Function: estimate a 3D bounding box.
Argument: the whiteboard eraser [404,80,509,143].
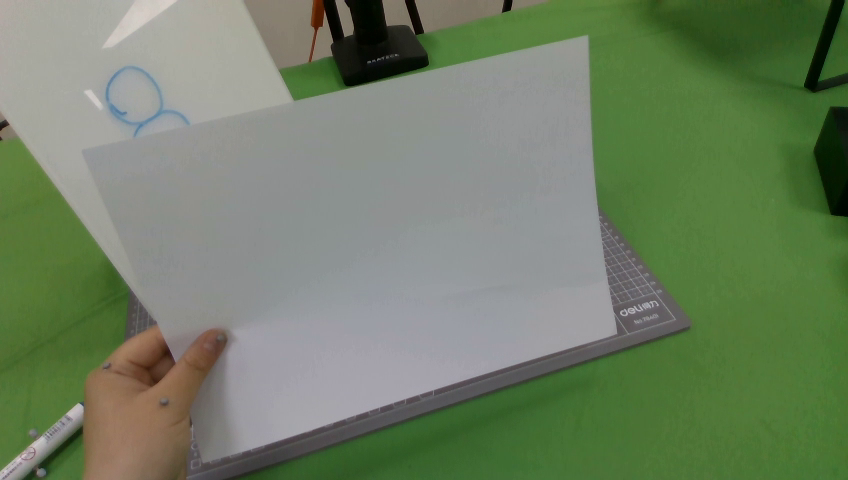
[{"bbox_3d":[0.037,-0.146,0.699,0.113,0.042,0.055,-18,46,-10],"label":"whiteboard eraser"}]

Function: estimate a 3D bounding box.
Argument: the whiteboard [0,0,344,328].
[{"bbox_3d":[-0.256,-0.115,0.574,0.217,0.308,0.142,-38,29,-26],"label":"whiteboard"}]

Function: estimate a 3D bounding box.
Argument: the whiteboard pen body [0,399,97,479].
[{"bbox_3d":[-0.302,0.172,0.442,0.017,0.017,0.140,20,50,28],"label":"whiteboard pen body"}]
